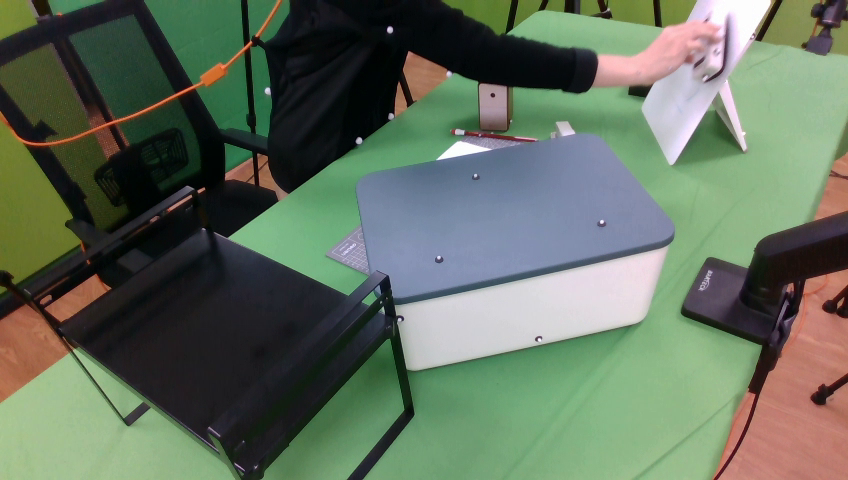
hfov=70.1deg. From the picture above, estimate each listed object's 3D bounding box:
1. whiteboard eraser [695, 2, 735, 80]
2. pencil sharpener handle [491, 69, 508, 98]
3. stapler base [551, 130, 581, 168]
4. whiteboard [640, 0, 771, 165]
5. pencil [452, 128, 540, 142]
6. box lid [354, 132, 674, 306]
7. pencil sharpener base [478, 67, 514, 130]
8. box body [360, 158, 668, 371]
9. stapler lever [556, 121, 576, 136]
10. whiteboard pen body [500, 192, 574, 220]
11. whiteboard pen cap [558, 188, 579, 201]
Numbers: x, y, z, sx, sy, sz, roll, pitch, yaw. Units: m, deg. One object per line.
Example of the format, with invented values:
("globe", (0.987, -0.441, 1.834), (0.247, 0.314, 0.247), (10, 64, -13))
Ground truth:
("whiteboard eraser", (0.470, -0.318, 0.972), (0.042, 0.055, 0.112), (13, 78, -3))
("pencil sharpener handle", (0.156, -0.330, 1.254), (0.036, 0.068, 0.030), (16, 44, 4))
("stapler base", (0.268, -0.178, 1.142), (0.041, 0.024, 0.130), (1, 37, 2))
("whiteboard", (0.544, -0.298, 1.076), (0.144, 0.305, 0.216), (12, 40, -7))
("pencil", (0.146, -0.207, 1.205), (0.193, 0.012, 0.012), (10, 43, 19))
("box lid", (0.103, -0.042, 0.785), (0.372, 0.015, 0.261), (-12, 41, -5))
("pencil sharpener base", (0.148, -0.287, 1.224), (0.061, 0.107, 0.076), (5, 42, 15))
("box body", (0.108, 0.014, 0.833), (0.365, 0.161, 0.252), (-11, 41, -5))
("stapler lever", (0.267, -0.198, 1.128), (0.027, 0.040, 0.117), (1, 38, 3))
("whiteboard pen body", (0.191, -0.059, 1.012), (0.141, 0.017, 0.017), (-18, 41, -16))
("whiteboard pen cap", (0.245, -0.076, 1.028), (0.033, 0.018, 0.018), (-18, 42, -15))
